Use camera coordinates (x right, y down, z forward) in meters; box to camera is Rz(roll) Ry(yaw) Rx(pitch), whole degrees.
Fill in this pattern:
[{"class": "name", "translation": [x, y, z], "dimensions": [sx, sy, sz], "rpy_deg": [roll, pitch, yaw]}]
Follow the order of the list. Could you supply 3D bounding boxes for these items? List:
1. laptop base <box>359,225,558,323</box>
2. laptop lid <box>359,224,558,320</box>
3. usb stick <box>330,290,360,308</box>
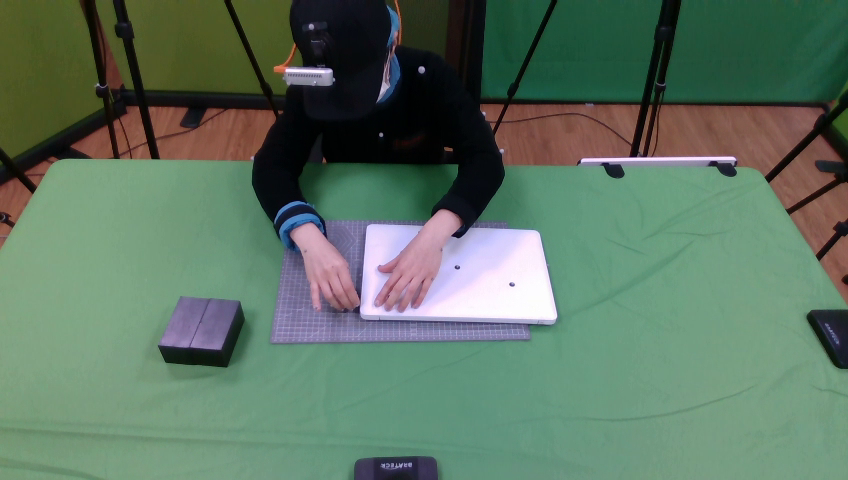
[{"class": "laptop base", "translation": [0.061, 0.063, 1.145], "dimensions": [0.354, 0.023, 0.234], "rpy_deg": [2, 43, -3]}, {"class": "laptop lid", "translation": [0.062, 0.053, 1.138], "dimensions": [0.357, 0.013, 0.240], "rpy_deg": [3, 44, -2]}, {"class": "usb stick", "translation": [-0.136, 0.104, 1.068], "dimensions": [0.059, 0.027, 0.021], "rpy_deg": [7, 41, -7]}]
